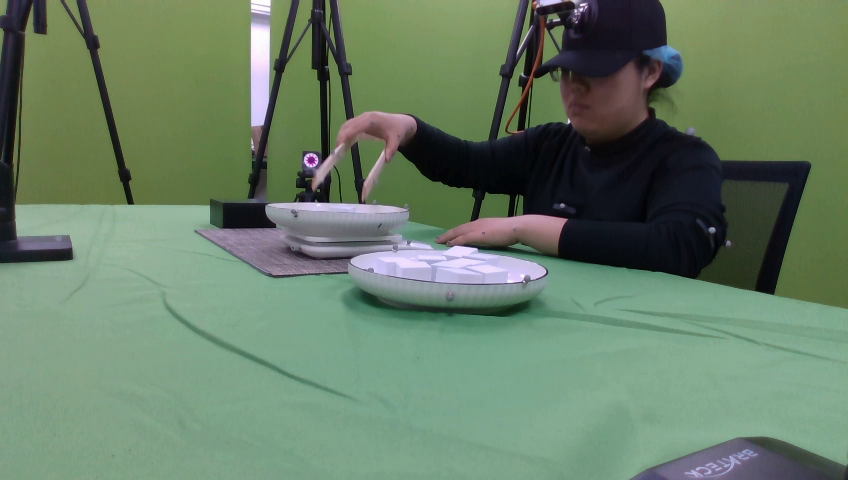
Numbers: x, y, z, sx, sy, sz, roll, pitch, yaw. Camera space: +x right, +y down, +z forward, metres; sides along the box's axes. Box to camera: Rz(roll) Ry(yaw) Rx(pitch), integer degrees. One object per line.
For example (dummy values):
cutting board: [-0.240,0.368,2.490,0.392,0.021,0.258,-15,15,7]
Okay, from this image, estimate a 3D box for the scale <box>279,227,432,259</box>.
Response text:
scale: [-0.100,0.001,0.899,0.202,0.031,0.148,-1,9,-31]

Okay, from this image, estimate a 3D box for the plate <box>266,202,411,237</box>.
plate: [-0.123,-0.030,0.879,0.208,0.039,0.207,2,6,0]

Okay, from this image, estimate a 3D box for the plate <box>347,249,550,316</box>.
plate: [0.025,0.042,0.627,0.209,0.038,0.209,2,7,0]

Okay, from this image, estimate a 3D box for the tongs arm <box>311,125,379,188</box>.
tongs arm: [-0.121,-0.145,1.002,0.051,0.026,0.384,10,21,-1]

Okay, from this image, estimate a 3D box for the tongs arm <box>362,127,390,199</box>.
tongs arm: [-0.080,-0.137,1.003,0.028,0.028,0.387,6,21,-1]
